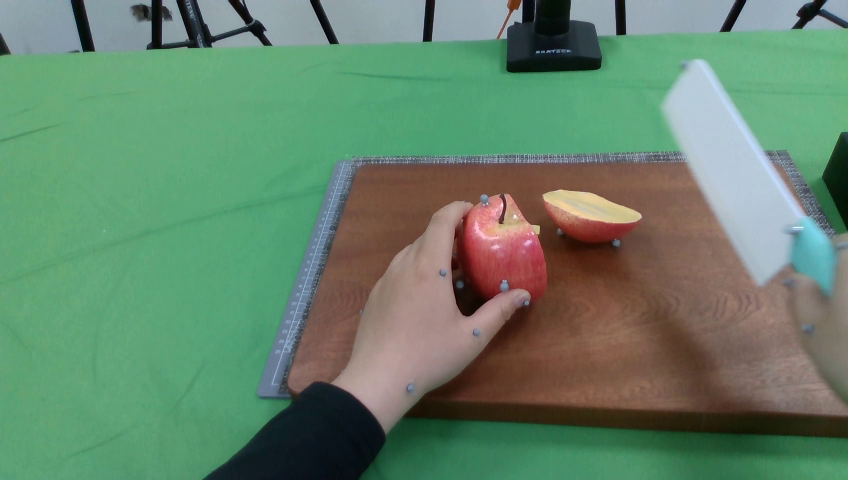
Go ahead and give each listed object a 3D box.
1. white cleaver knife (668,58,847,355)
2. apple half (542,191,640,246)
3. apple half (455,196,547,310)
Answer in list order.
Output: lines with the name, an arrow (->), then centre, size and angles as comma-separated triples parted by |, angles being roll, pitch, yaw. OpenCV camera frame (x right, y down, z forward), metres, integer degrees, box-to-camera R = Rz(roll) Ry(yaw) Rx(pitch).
white cleaver knife -> 0.222, -0.005, 0.379 | 0.021, 0.066, 0.283 | -3, 55, -10
apple half -> 0.129, -0.012, 0.491 | 0.081, 0.033, 0.080 | 9, 23, -3
apple half -> 0.051, 0.014, 0.447 | 0.053, 0.075, 0.080 | -19, 47, -7
